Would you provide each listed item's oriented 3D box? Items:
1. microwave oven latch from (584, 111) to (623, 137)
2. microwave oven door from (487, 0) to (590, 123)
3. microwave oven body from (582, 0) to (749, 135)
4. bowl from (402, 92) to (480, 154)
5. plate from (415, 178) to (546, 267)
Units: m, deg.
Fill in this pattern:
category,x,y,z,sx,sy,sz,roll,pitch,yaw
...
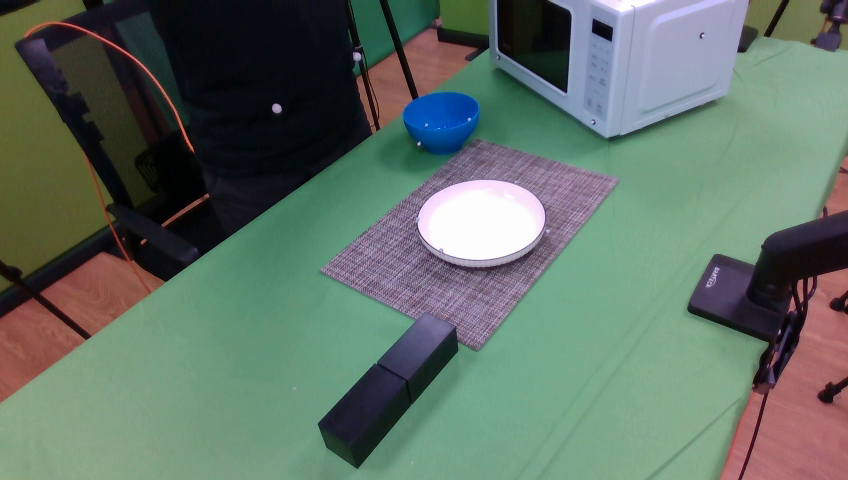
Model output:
category,x,y,z,sx,sy,sz,roll,pitch,yaw
microwave oven latch,0.337,-0.222,1.142,0.030,0.029,0.078,-21,42,-14
microwave oven door,0.232,-0.420,1.230,0.039,0.245,0.352,-22,43,-16
microwave oven body,0.382,-0.444,1.246,0.327,0.261,0.437,-22,42,-16
bowl,0.036,-0.219,1.180,0.151,0.077,0.150,-4,40,4
plate,0.091,-0.026,0.970,0.207,0.039,0.206,-4,41,4
